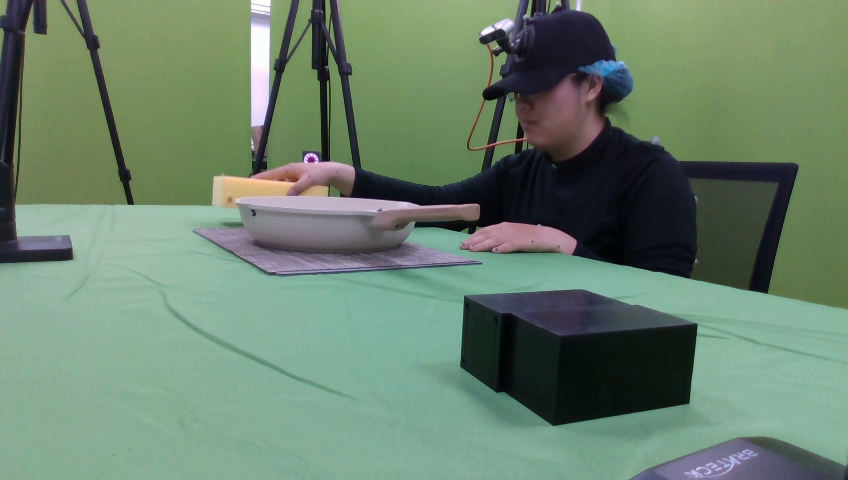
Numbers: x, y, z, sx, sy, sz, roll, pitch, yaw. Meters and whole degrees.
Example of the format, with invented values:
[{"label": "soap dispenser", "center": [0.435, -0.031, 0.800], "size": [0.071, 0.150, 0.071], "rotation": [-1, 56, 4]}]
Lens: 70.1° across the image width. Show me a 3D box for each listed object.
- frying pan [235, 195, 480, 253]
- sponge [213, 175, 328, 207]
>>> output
[{"label": "frying pan", "center": [-0.089, -0.033, 0.891], "size": [0.308, 0.102, 0.485], "rotation": [-4, 2, -36]}, {"label": "sponge", "center": [-0.312, -0.091, 1.225], "size": [0.208, 0.061, 0.117], "rotation": [3, 3, -29]}]
